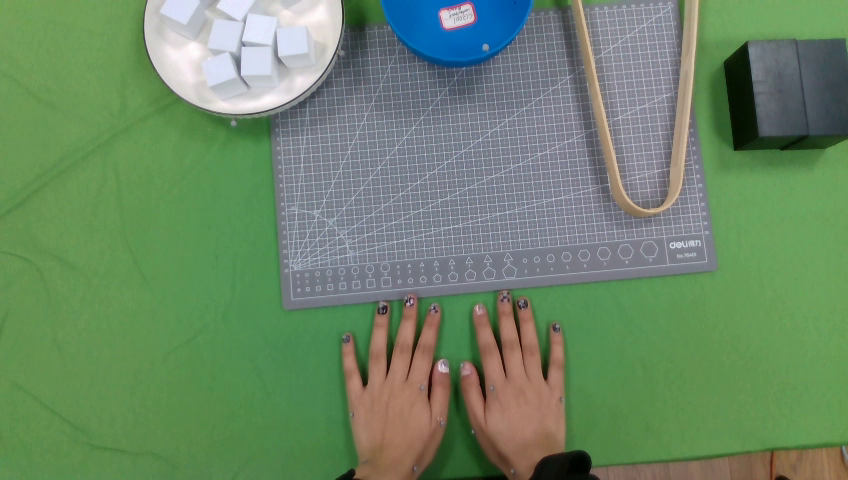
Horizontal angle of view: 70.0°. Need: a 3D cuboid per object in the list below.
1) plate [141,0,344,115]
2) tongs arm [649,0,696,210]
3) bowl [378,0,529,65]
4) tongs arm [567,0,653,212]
[{"bbox_3d":[-0.186,-0.228,0.637,0.208,0.039,0.207,0,83,1],"label":"plate"},{"bbox_3d":[0.269,-0.220,0.644,0.028,0.028,0.386,8,83,-6],"label":"tongs arm"},{"bbox_3d":[0.028,-0.241,0.618,0.151,0.077,0.151,0,83,0],"label":"bowl"},{"bbox_3d":[0.182,-0.217,0.640,0.051,0.026,0.383,-7,84,-5],"label":"tongs arm"}]
